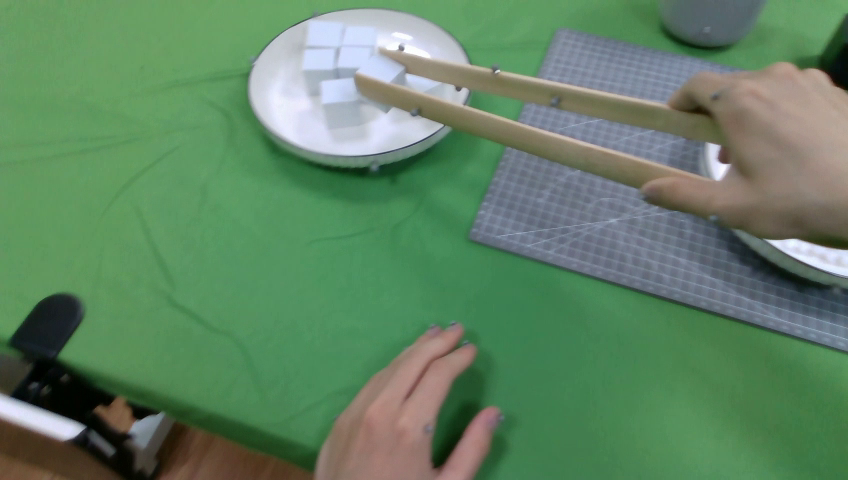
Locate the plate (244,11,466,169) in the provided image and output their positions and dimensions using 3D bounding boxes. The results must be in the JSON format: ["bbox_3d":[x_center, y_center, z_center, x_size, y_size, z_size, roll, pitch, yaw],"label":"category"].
[{"bbox_3d":[-0.063,-0.142,0.580,0.208,0.039,0.205,0,55,0],"label":"plate"}]

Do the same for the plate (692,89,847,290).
[{"bbox_3d":[0.329,-0.043,0.509,0.209,0.038,0.207,0,55,0],"label":"plate"}]

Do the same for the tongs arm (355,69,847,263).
[{"bbox_3d":[0.095,-0.064,0.410,0.384,0.028,0.028,26,60,31],"label":"tongs arm"}]

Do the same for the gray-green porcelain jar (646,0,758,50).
[{"bbox_3d":[0.293,-0.270,0.619,0.106,0.127,0.105,0,54,0],"label":"gray-green porcelain jar"}]

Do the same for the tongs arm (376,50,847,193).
[{"bbox_3d":[0.108,-0.079,0.418,0.382,0.027,0.050,20,61,29],"label":"tongs arm"}]
